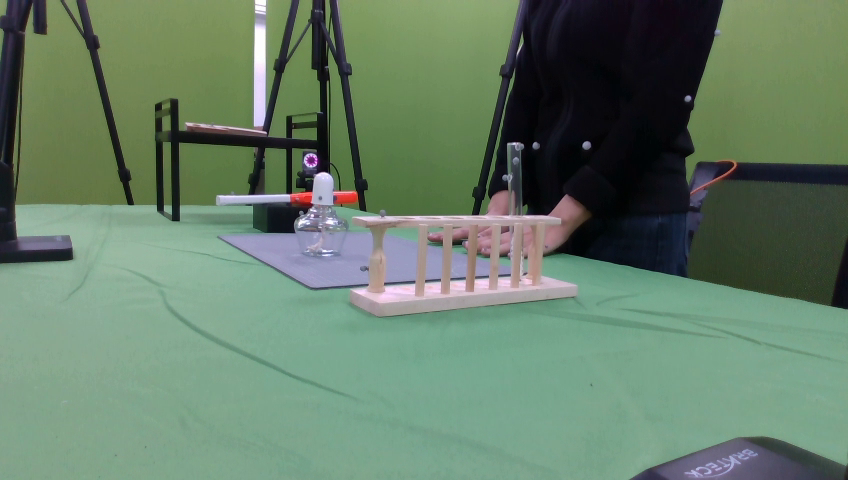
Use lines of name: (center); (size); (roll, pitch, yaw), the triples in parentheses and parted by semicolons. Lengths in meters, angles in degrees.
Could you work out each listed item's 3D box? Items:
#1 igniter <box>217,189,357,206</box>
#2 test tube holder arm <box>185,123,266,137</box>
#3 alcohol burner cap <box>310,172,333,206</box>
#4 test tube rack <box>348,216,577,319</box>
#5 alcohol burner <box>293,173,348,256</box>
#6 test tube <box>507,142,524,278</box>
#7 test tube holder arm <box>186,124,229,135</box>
igniter: (-0.251, -0.081, 1.155); (0.278, 0.025, 0.057); (-5, 8, -33)
test tube holder arm: (-0.433, -0.242, 1.333); (0.179, 0.015, 0.013); (-3, 48, -42)
alcohol burner cap: (-0.144, -0.071, 0.854); (0.034, 0.048, 0.034); (4, 9, 0)
test tube rack: (0.048, 0.021, 0.619); (0.244, 0.085, 0.066); (-2, 8, -31)
alcohol burner: (-0.146, -0.036, 0.859); (0.078, 0.119, 0.078); (4, 8, 0)
test tube: (0.101, -0.032, 0.666); (0.017, 0.150, 0.017); (-2, 6, 1)
test tube holder arm: (-0.465, -0.236, 1.300); (0.088, 0.015, 0.010); (-2, 47, -41)
